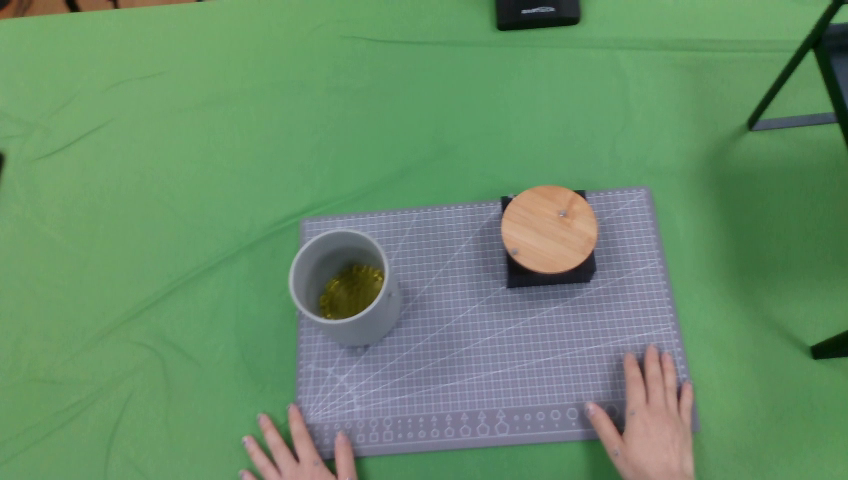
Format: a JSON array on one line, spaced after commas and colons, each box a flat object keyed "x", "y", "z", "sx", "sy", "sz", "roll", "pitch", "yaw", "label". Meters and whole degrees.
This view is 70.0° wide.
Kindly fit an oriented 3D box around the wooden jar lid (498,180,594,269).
[{"x": 0.138, "y": -0.016, "z": 0.693, "sx": 0.108, "sy": 0.021, "sz": 0.107, "roll": -2, "pitch": 70, "yaw": 5, "label": "wooden jar lid"}]

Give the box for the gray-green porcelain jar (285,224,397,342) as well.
[{"x": -0.086, "y": 0.054, "z": 0.681, "sx": 0.106, "sy": 0.127, "sz": 0.105, "roll": -1, "pitch": 69, "yaw": 4, "label": "gray-green porcelain jar"}]
